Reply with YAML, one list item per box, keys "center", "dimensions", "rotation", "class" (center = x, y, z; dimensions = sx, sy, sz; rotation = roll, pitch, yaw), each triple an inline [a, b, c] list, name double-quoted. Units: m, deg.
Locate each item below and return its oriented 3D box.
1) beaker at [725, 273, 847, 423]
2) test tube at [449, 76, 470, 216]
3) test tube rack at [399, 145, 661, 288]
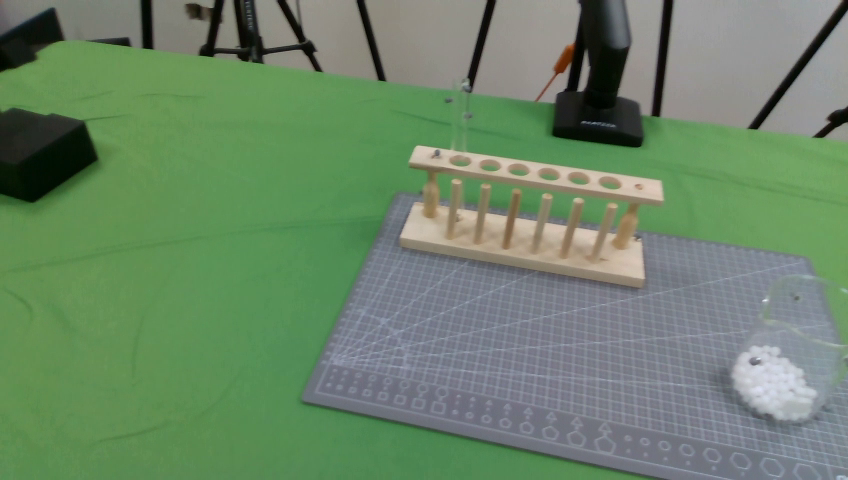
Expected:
- center: [0.283, 0.088, 0.470]
  dimensions: [0.084, 0.101, 0.073]
  rotation: [-3, 40, -5]
  class: "beaker"
- center: [0.034, -0.088, 0.596]
  dimensions: [0.017, 0.151, 0.017]
  rotation: [0, 37, 0]
  class: "test tube"
- center: [0.101, -0.025, 0.604]
  dimensions: [0.242, 0.086, 0.066]
  rotation: [10, 40, 8]
  class: "test tube rack"
